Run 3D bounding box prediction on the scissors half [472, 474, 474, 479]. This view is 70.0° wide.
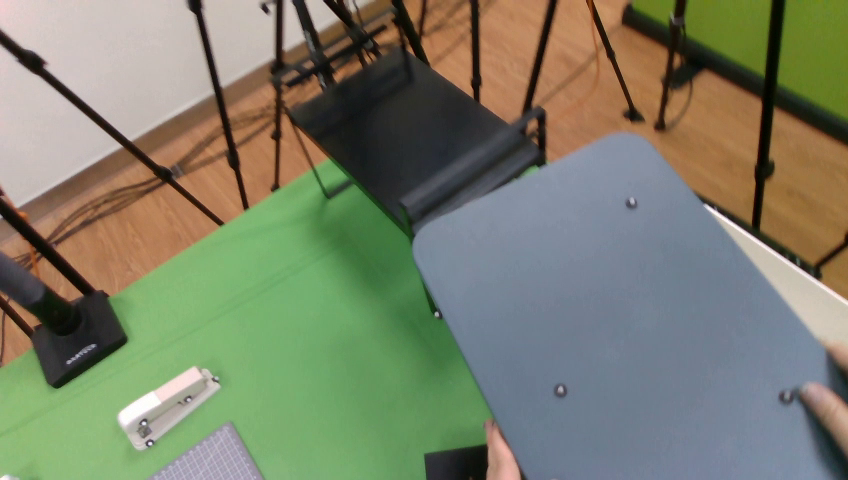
[{"bbox_3d":[0.065,0.334,0.626,0.013,0.040,0.174,-9,72,-1],"label":"scissors half"}]

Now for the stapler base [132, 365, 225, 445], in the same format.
[{"bbox_3d":[-0.336,0.219,0.818,0.130,0.024,0.041,-38,59,-20],"label":"stapler base"}]

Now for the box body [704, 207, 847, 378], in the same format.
[{"bbox_3d":[0.270,0.110,0.700,0.254,0.162,0.360,-35,55,-15],"label":"box body"}]

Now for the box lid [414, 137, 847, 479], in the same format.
[{"bbox_3d":[0.171,0.082,0.518,0.263,0.015,0.367,-25,61,-6],"label":"box lid"}]

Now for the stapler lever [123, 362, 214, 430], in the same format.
[{"bbox_3d":[-0.338,0.204,0.800,0.118,0.040,0.026,-39,59,-19],"label":"stapler lever"}]

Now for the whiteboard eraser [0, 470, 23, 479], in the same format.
[{"bbox_3d":[-0.514,0.345,0.746,0.055,0.042,0.111,-36,56,-15],"label":"whiteboard eraser"}]

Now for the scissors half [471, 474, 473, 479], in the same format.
[{"bbox_3d":[0.062,0.325,0.609,0.013,0.040,0.173,-11,55,4],"label":"scissors half"}]
